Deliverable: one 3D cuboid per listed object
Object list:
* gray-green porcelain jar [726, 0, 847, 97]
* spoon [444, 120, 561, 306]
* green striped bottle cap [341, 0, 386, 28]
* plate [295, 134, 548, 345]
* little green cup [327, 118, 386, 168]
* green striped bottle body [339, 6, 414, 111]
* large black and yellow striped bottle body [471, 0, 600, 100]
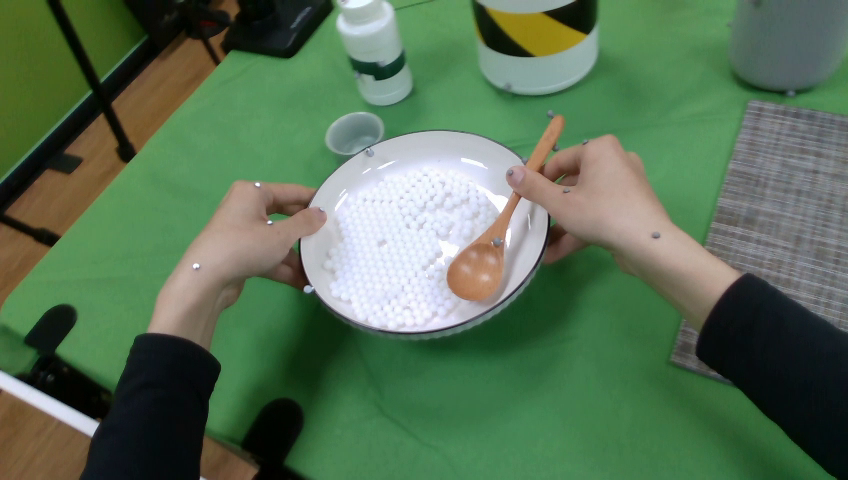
[{"bbox_3d":[0.350,-0.209,0.572,0.106,0.128,0.105,-6,53,8],"label":"gray-green porcelain jar"},{"bbox_3d":[0.072,-0.028,0.492,0.041,0.022,0.193,26,70,14],"label":"spoon"},{"bbox_3d":[-0.062,-0.238,0.622,0.044,0.020,0.044,-4,56,7],"label":"green striped bottle cap"},{"bbox_3d":[-0.001,-0.002,0.507,0.209,0.038,0.207,-5,54,7],"label":"plate"},{"bbox_3d":[-0.068,-0.094,0.635,0.061,0.039,0.061,-6,51,8],"label":"little green cup"},{"bbox_3d":[-0.053,-0.206,0.663,0.063,0.120,0.062,-6,53,9],"label":"green striped bottle body"},{"bbox_3d":[0.113,-0.252,0.619,0.130,0.186,0.129,-6,53,9],"label":"large black and yellow striped bottle body"}]
